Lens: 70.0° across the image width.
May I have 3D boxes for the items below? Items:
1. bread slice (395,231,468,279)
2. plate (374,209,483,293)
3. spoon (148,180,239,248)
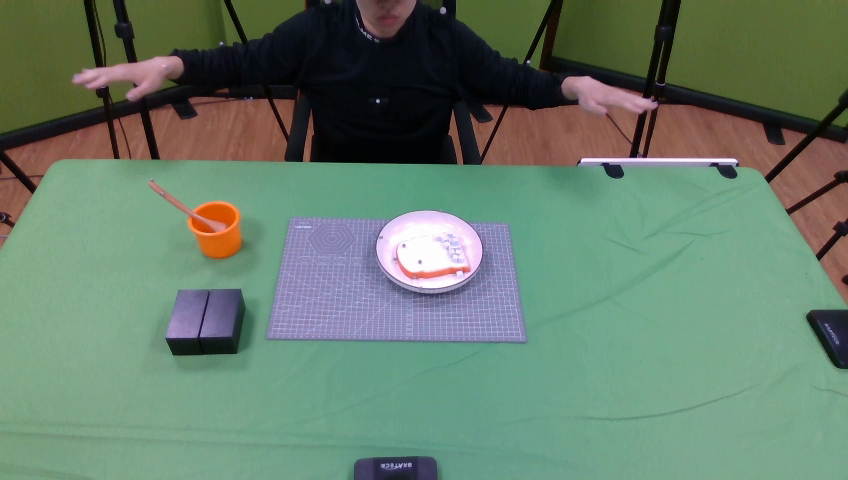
[{"bbox_3d":[0.011,0.030,1.158,0.132,0.019,0.104,-8,47,-14],"label":"bread slice"},{"bbox_3d":[0.009,0.024,1.160,0.209,0.038,0.208,2,46,-2],"label":"plate"},{"bbox_3d":[-0.422,-0.047,1.115,0.195,0.021,0.041,36,42,-25],"label":"spoon"}]
